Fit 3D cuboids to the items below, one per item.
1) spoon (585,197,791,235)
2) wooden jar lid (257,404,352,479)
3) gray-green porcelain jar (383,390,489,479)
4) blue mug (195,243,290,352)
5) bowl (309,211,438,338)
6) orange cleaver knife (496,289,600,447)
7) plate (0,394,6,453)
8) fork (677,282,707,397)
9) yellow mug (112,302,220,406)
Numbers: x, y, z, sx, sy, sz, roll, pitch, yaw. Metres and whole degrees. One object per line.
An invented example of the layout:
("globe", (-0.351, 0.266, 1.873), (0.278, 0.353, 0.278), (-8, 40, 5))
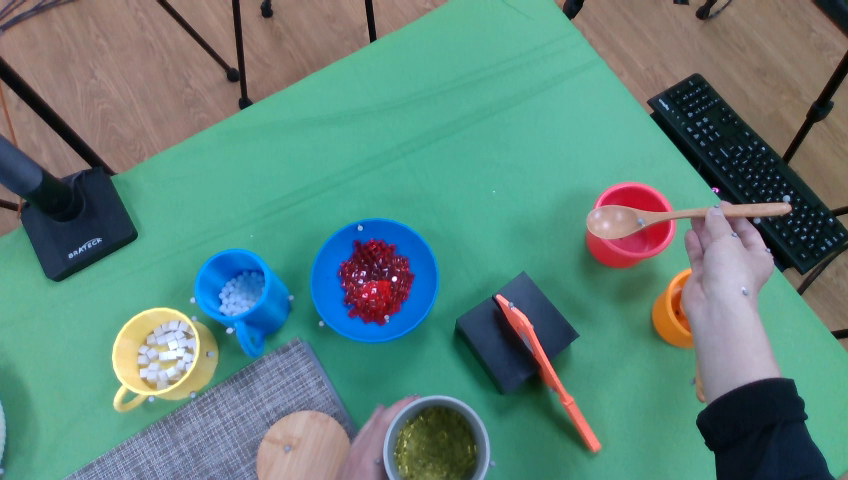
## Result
("spoon", (0.263, -0.030, 0.620), (0.193, 0.022, 0.041), (-4, 68, 33))
("wooden jar lid", (-0.135, 0.245, 0.696), (0.108, 0.021, 0.107), (0, 73, 0))
("gray-green porcelain jar", (0.013, 0.220, 0.652), (0.106, 0.127, 0.105), (0, 71, 0))
("blue mug", (-0.208, 0.074, 0.711), (0.082, 0.106, 0.115), (-12, 72, -3))
("bowl", (-0.058, 0.050, 0.733), (0.151, 0.077, 0.150), (0, 72, 1))
("orange cleaver knife", (0.142, 0.147, 0.698), (0.012, 0.077, 0.212), (-33, 104, -8))
("plate", (-0.583, 0.232, 0.697), (0.208, 0.039, 0.206), (0, 72, 0))
("fork", (0.302, 0.104, 0.676), (0.028, 0.019, 0.206), (24, 30, 7))
("yellow mug", (-0.311, 0.141, 0.711), (0.099, 0.064, 0.130), (35, 76, 11))
